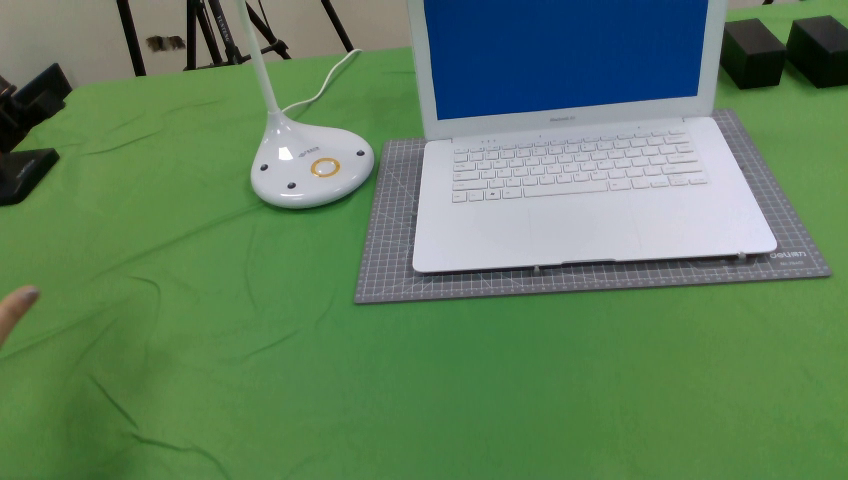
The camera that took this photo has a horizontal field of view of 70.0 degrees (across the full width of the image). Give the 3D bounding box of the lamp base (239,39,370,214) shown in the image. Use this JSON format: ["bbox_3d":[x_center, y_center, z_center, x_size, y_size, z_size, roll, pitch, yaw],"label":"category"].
[{"bbox_3d":[-0.170,-0.147,0.740,0.177,0.182,0.160,25,52,37],"label":"lamp base"}]

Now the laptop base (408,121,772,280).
[{"bbox_3d":[0.164,-0.047,0.679,0.354,0.023,0.233,-4,45,7],"label":"laptop base"}]

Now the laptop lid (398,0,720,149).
[{"bbox_3d":[0.154,-0.224,0.700,0.356,0.244,0.013,-6,34,8],"label":"laptop lid"}]
